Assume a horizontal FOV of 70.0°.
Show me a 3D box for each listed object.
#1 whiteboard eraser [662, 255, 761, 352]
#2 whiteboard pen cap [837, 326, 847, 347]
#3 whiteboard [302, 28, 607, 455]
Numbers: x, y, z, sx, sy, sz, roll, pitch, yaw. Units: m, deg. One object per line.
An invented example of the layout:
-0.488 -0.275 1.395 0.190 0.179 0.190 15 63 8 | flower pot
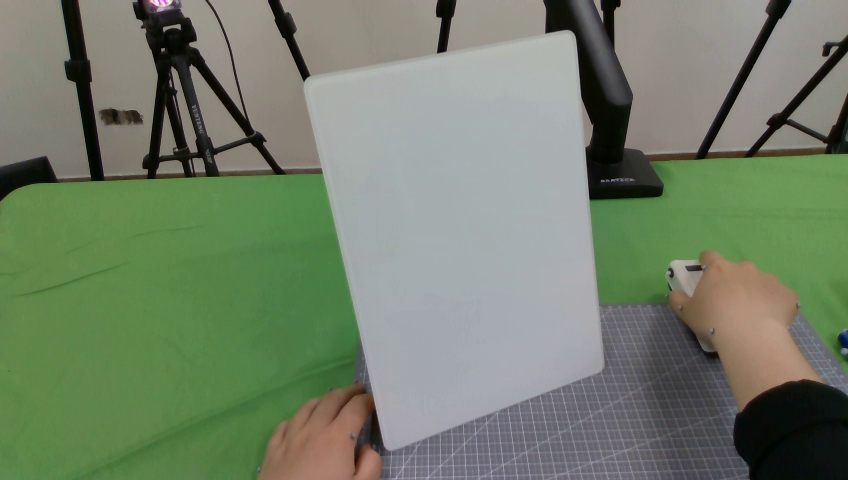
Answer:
0.281 0.062 0.599 0.055 0.042 0.111 -5 38 3 | whiteboard eraser
0.405 0.097 0.566 0.018 0.018 0.033 -4 35 -1 | whiteboard pen cap
0.021 -0.010 0.543 0.218 0.307 0.142 -15 18 -16 | whiteboard
